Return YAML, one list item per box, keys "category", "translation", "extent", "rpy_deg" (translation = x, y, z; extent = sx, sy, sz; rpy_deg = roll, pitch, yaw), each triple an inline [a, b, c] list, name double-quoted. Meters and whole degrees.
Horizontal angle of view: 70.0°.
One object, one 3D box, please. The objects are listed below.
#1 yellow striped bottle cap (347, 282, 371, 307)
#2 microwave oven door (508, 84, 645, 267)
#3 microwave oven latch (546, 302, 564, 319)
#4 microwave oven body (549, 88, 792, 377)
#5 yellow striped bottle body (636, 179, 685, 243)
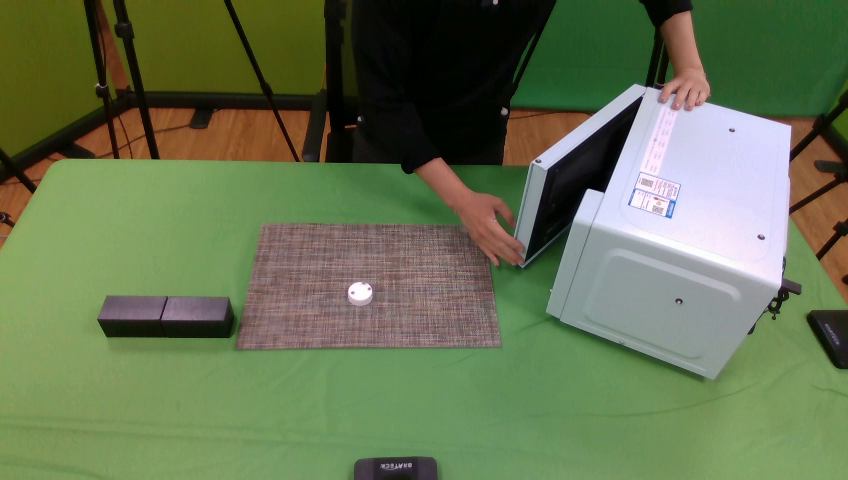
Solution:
- category: "yellow striped bottle cap"
  translation: [-0.117, 0.098, 1.093]
  extent: [0.044, 0.019, 0.044]
  rpy_deg: [3, 45, -3]
- category: "microwave oven door"
  translation: [0.299, -0.129, 1.167]
  extent: [0.039, 0.245, 0.355]
  rpy_deg: [35, 53, 26]
- category: "microwave oven latch"
  translation: [0.242, 0.102, 1.081]
  extent: [0.030, 0.029, 0.079]
  rpy_deg: [22, 48, 17]
- category: "microwave oven body"
  translation: [0.456, -0.028, 1.088]
  extent: [0.325, 0.261, 0.440]
  rpy_deg: [20, 47, 16]
- category: "yellow striped bottle body"
  translation: [0.442, -0.057, 1.126]
  extent: [0.063, 0.121, 0.062]
  rpy_deg: [1, 47, -1]
